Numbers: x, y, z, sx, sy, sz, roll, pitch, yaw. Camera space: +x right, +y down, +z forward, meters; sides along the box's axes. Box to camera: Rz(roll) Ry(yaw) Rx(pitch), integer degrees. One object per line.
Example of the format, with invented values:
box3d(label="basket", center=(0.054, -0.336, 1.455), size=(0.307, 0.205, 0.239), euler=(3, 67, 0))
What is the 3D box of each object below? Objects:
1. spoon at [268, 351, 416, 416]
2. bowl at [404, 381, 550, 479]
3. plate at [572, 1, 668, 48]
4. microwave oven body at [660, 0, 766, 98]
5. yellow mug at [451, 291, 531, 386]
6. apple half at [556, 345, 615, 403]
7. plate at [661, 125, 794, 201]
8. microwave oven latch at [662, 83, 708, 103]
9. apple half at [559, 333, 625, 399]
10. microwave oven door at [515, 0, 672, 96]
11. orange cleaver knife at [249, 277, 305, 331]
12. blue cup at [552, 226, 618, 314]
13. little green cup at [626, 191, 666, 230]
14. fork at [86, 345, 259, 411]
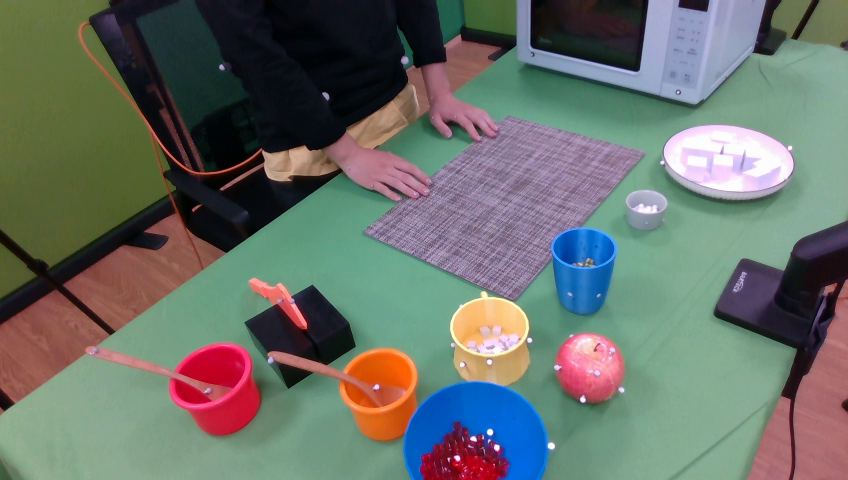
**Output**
box3d(label="spoon", center=(-0.090, 0.162, 0.699), size=(0.021, 0.195, 0.041), euler=(-44, 31, 27))
box3d(label="bowl", center=(0.058, 0.235, 0.645), size=(0.151, 0.077, 0.150), euler=(-4, 39, 4))
box3d(label="plate", center=(0.441, -0.483, 1.366), size=(0.209, 0.038, 0.208), euler=(-5, 41, 4))
box3d(label="microwave oven body", center=(0.472, -0.513, 1.317), size=(0.438, 0.261, 0.327), euler=(26, 51, 34))
box3d(label="yellow mug", center=(0.085, 0.120, 0.786), size=(0.100, 0.064, 0.130), euler=(-7, 39, 1))
box3d(label="apple half", center=(0.181, 0.167, 0.709), size=(0.080, 0.081, 0.033), euler=(29, 50, 35))
box3d(label="plate", center=(0.513, -0.128, 1.035), size=(0.207, 0.039, 0.206), euler=(-4, 40, 4))
box3d(label="microwave oven latch", center=(0.518, -0.296, 1.204), size=(0.078, 0.029, 0.030), euler=(27, 52, 35))
box3d(label="apple half", center=(0.209, 0.147, 0.730), size=(0.080, 0.075, 0.053), euler=(26, 48, 38))
box3d(label="microwave oven door", center=(0.343, -0.455, 1.259), size=(0.353, 0.245, 0.039), euler=(26, 51, 33))
box3d(label="orange cleaver knife", center=(-0.210, 0.088, 0.855), size=(0.012, 0.077, 0.210), euler=(-28, 15, -25))
box3d(label="blue cup", center=(0.218, 0.047, 0.826), size=(0.092, 0.101, 0.092), euler=(-6, 40, 5))
box3d(label="little green cup", center=(0.352, -0.046, 0.963), size=(0.061, 0.039, 0.061), euler=(-4, 40, 4))
box3d(label="fork", center=(-0.298, 0.166, 0.728), size=(0.209, 0.018, 0.028), euler=(28, 48, -23))
